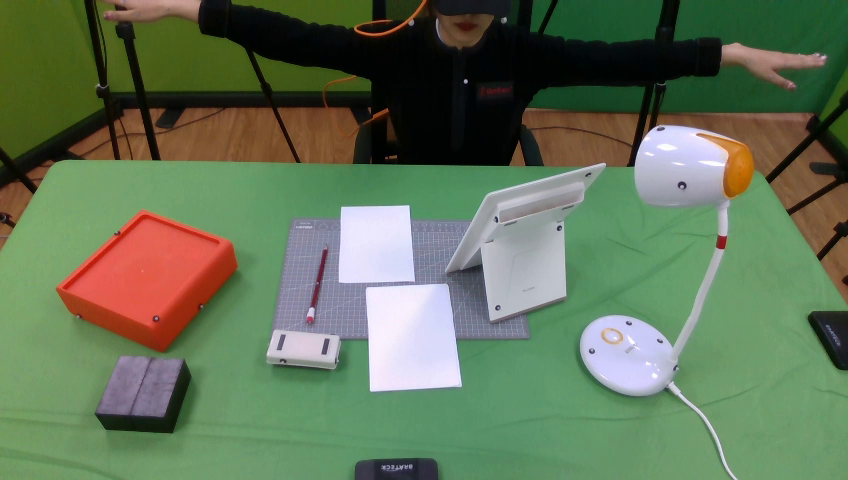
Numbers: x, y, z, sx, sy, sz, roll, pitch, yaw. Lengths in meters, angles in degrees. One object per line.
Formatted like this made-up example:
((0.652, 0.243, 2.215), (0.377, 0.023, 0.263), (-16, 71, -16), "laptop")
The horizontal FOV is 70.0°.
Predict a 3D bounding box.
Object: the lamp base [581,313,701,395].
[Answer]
((0.361, 0.144, 0.973), (0.178, 0.181, 0.160), (34, 53, 23), "lamp base")

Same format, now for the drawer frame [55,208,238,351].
((-0.474, 0.062, 1.059), (0.201, 0.083, 0.213), (18, 48, 12), "drawer frame")

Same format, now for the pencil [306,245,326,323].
((-0.196, 0.076, 1.115), (0.012, 0.012, 0.193), (4, 44, 0), "pencil")

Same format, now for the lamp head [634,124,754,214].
((0.351, -0.089, 0.775), (0.112, 0.113, 0.122), (-30, 30, -28), "lamp head")

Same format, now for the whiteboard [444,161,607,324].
((0.185, 0.025, 1.029), (0.217, 0.306, 0.143), (-15, 68, -18), "whiteboard")

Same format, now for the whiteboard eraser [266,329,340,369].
((-0.198, 0.181, 0.994), (0.113, 0.042, 0.055), (5, 45, 1), "whiteboard eraser")

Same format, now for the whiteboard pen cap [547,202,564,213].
((0.277, -0.066, 1.275), (0.033, 0.018, 0.018), (-18, 50, -15), "whiteboard pen cap")

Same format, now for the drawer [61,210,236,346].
((-0.474, 0.061, 1.063), (0.194, 0.073, 0.211), (19, 49, 13), "drawer")

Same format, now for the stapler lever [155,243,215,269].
((-0.433, 0.023, 1.097), (0.118, 0.040, 0.026), (14, 39, 14), "stapler lever")

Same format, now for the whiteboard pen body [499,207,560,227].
((0.222, -0.051, 1.259), (0.141, 0.017, 0.017), (-15, 49, -16), "whiteboard pen body")

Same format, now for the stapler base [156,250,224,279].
((-0.431, 0.040, 1.111), (0.130, 0.024, 0.041), (11, 38, 17), "stapler base")
